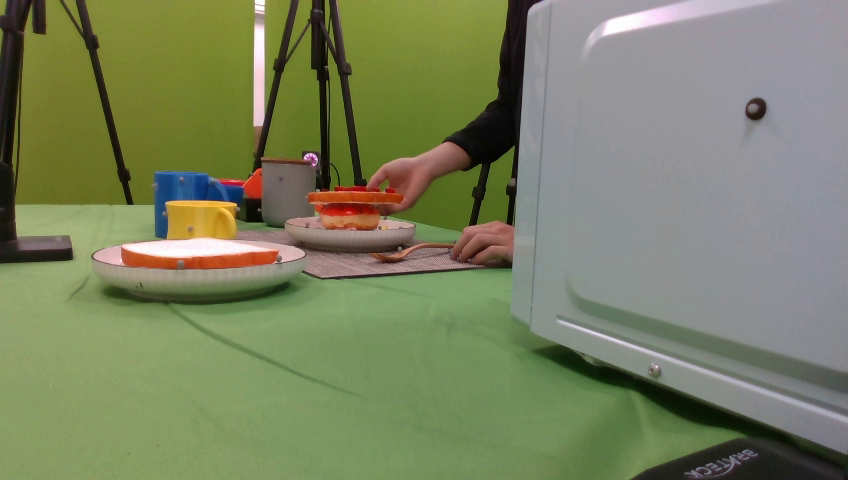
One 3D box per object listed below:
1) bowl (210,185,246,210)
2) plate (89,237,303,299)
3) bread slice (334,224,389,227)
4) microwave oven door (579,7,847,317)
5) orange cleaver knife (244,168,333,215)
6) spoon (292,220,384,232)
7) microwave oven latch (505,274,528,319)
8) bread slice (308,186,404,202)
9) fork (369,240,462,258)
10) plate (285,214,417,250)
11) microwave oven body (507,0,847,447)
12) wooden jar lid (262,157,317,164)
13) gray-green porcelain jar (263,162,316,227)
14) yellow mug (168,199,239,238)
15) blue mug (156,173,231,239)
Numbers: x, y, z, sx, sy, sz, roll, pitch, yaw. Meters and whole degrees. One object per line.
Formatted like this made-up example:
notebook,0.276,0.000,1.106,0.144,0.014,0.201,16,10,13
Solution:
bowl,-0.422,-0.067,1.166,0.151,0.077,0.151,2,7,0
plate,-0.233,0.029,0.636,0.208,0.039,0.207,2,7,0
bread slice,-0.103,-0.010,0.961,0.131,0.019,0.105,3,9,25
microwave oven door,0.295,-0.067,0.570,0.358,0.243,0.039,-3,9,-31
orange cleaver knife,-0.300,-0.089,1.351,0.212,0.077,0.012,28,-9,-34
spoon,-0.153,-0.028,1.123,0.195,0.021,0.041,-5,-14,-39
microwave oven latch,0.100,0.041,0.471,0.079,0.029,0.030,-1,7,-28
bread slice,-0.114,-0.071,0.952,0.134,0.018,0.107,-1,1,21
fork,-0.005,0.011,0.874,0.028,0.018,0.208,-1,6,37
plate,-0.116,-0.014,0.964,0.209,0.038,0.209,2,8,0
microwave oven body,0.331,-0.042,0.425,0.444,0.260,0.324,-2,8,-31
wooden jar lid,-0.269,-0.154,1.208,0.108,0.020,0.108,3,4,0
gray-green porcelain jar,-0.271,-0.092,1.217,0.106,0.126,0.106,2,7,0
yellow mug,-0.319,-0.023,0.904,0.130,0.064,0.100,9,11,36
blue mug,-0.381,-0.057,1.004,0.117,0.106,0.082,0,8,-12
